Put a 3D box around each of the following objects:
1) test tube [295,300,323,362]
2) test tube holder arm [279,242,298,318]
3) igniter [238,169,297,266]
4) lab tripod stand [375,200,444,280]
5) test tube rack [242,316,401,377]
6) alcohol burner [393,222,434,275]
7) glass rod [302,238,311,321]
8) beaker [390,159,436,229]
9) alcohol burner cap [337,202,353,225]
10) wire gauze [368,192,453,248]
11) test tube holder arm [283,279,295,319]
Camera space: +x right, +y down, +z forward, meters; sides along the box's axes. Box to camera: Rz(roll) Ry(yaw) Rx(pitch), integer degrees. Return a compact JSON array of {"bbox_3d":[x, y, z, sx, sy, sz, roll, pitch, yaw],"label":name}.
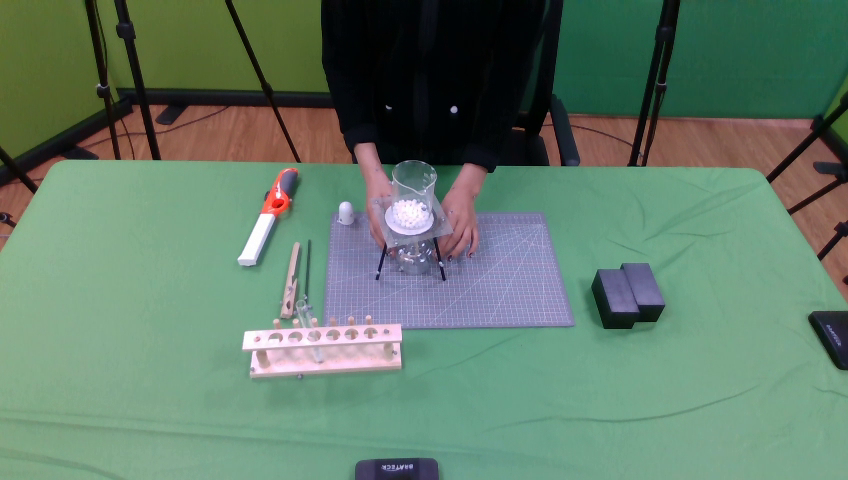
[{"bbox_3d":[-0.176,0.143,0.935,0.017,0.151,0.017,-2,46,2],"label":"test tube"},{"bbox_3d":[-0.248,0.069,1.114,0.013,0.015,0.177,25,38,-26],"label":"test tube holder arm"},{"bbox_3d":[-0.313,-0.055,1.224,0.057,0.025,0.275,1,45,10],"label":"igniter"},{"bbox_3d":[-0.023,0.004,1.113,0.148,0.132,0.147,4,45,-3],"label":"lab tripod stand"},{"bbox_3d":[-0.161,0.166,0.983,0.242,0.085,0.066,-2,46,-6],"label":"test tube rack"},{"bbox_3d":[-0.018,0.009,1.122,0.078,0.119,0.077,3,48,-3],"label":"alcohol burner"},{"bbox_3d":[-0.218,0.069,1.125,0.008,0.008,0.198,-1,47,-5],"label":"glass rod"},{"bbox_3d":[-0.020,-0.073,1.029,0.074,0.101,0.083,-10,48,-16],"label":"beaker"},{"bbox_3d":[-0.161,-0.056,1.224,0.034,0.048,0.033,3,46,-2],"label":"alcohol burner cap"},{"bbox_3d":[-0.025,-0.041,1.065,0.122,0.011,0.124,-10,46,-18],"label":"wire gauze"},{"bbox_3d":[-0.241,0.103,1.085,0.010,0.015,0.087,25,38,-26],"label":"test tube holder arm"}]
